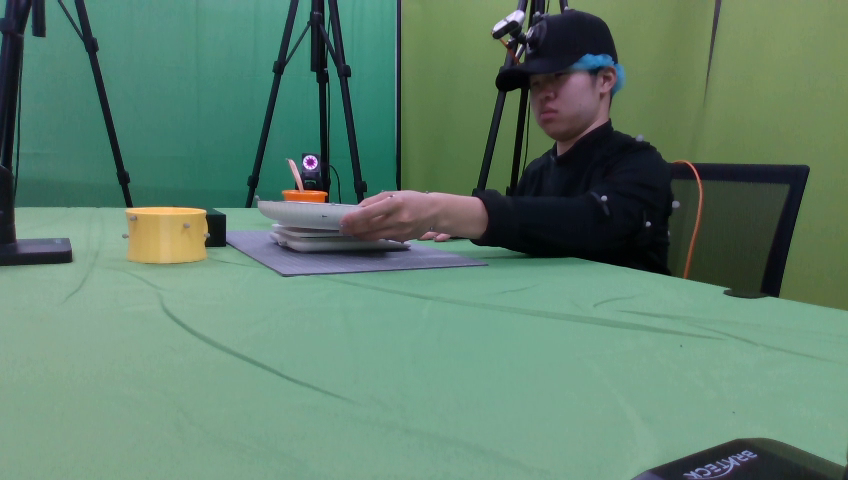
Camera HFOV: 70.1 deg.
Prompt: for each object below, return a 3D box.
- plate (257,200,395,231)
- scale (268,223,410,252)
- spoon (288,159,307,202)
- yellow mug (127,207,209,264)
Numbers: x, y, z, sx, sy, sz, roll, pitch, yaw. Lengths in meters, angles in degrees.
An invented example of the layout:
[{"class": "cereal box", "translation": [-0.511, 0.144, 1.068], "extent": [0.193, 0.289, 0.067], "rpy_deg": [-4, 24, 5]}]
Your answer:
[{"class": "plate", "translation": [-0.149, -0.038, 0.929], "extent": [0.209, 0.038, 0.209], "rpy_deg": [4, 3, 0]}, {"class": "scale", "translation": [-0.138, -0.006, 0.980], "extent": [0.202, 0.031, 0.148], "rpy_deg": [-1, 9, -30]}, {"class": "spoon", "translation": [-0.259, -0.103, 1.268], "extent": [0.042, 0.193, 0.021], "rpy_deg": [3, -39, -33]}, {"class": "yellow mug", "translation": [-0.339, -0.009, 0.827], "extent": [0.100, 0.064, 0.131], "rpy_deg": [5, 7, 17]}]
